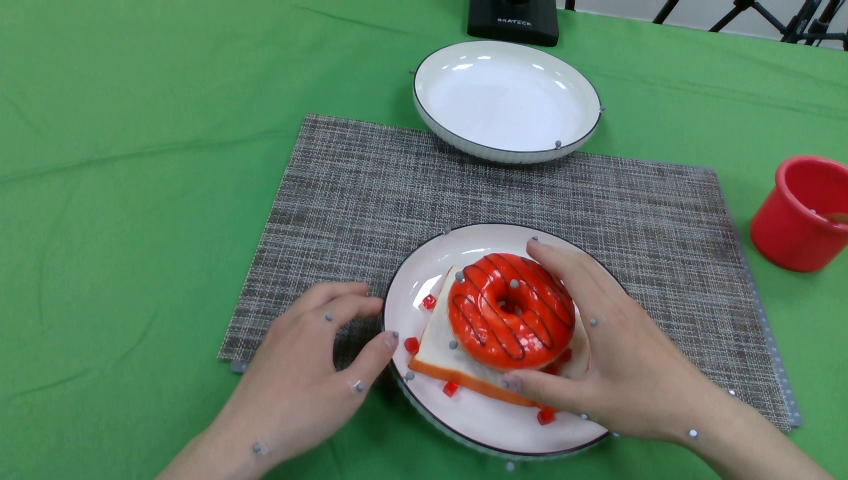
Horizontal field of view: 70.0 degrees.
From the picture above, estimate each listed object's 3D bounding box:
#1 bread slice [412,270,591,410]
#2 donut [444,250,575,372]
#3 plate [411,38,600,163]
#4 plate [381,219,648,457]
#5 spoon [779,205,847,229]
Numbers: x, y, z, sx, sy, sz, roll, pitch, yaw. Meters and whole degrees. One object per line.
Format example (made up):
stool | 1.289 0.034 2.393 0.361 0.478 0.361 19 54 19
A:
bread slice | 0.067 0.077 0.482 0.131 0.019 0.104 14 50 9
donut | 0.063 0.052 0.452 0.099 0.048 0.098 4 51 -4
plate | 0.087 -0.152 0.672 0.208 0.039 0.205 4 48 -5
plate | 0.069 0.072 0.481 0.209 0.038 0.207 4 50 -4
spoon | 0.358 -0.019 0.532 0.041 0.021 0.194 24 8 11
